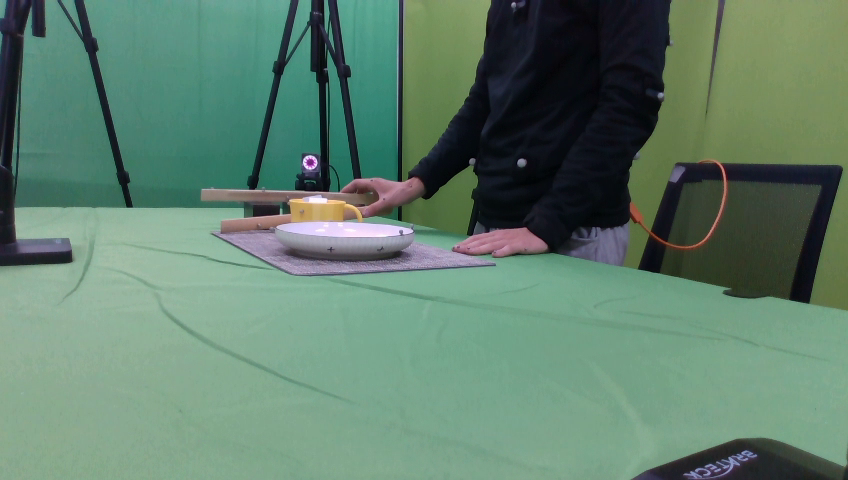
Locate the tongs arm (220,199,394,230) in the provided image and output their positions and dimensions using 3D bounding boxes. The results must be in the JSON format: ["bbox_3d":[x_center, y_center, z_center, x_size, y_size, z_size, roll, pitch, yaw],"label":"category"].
[{"bbox_3d":[-0.209,-0.052,1.181,0.390,0.028,0.028,-9,24,-39],"label":"tongs arm"}]

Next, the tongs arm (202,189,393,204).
[{"bbox_3d":[-0.249,-0.084,1.242,0.387,0.026,0.050,-2,23,-28],"label":"tongs arm"}]

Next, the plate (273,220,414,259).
[{"bbox_3d":[-0.118,-0.001,0.903,0.208,0.039,0.207,3,7,0],"label":"plate"}]

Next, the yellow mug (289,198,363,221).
[{"bbox_3d":[-0.174,-0.039,1.071,0.131,0.064,0.100,3,6,0],"label":"yellow mug"}]
